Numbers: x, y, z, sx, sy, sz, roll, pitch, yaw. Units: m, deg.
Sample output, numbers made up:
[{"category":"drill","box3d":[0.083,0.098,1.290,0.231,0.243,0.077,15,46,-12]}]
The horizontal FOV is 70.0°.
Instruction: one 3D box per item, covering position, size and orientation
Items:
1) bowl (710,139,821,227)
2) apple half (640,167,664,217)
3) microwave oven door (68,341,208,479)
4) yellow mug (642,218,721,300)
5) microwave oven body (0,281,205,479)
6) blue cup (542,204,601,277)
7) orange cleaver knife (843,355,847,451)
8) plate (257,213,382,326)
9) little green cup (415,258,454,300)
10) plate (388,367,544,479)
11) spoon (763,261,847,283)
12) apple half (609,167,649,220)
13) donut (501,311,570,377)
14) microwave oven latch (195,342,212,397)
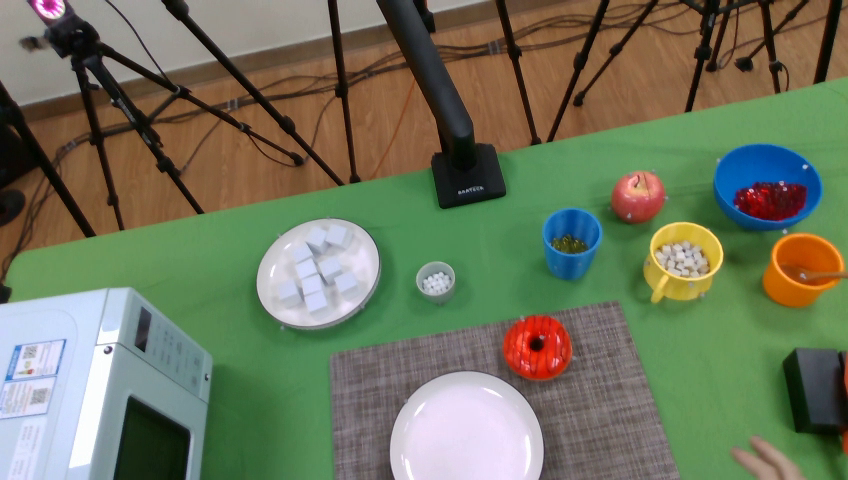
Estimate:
[{"category":"bowl","box3d":[0.515,-0.073,0.935,0.151,0.077,0.150,-4,59,8]},{"category":"apple half","box3d":[0.363,-0.076,0.965,0.033,0.082,0.080,-8,57,9]},{"category":"microwave oven door","box3d":[-0.341,0.327,0.715,0.039,0.246,0.352,-9,57,4]},{"category":"yellow mug","box3d":[0.371,0.037,0.899,0.099,0.064,0.130,33,70,26]},{"category":"microwave oven body","box3d":[-0.487,0.316,0.753,0.326,0.262,0.437,-8,58,4]},{"category":"blue cup","box3d":[0.220,0.008,0.922,0.092,0.101,0.092,-4,59,7]},{"category":"orange cleaver knife","box3d":[0.528,0.239,0.737,0.012,0.077,0.211,1,89,13]},{"category":"plate","box3d":[-0.170,0.050,1.000,0.207,0.039,0.205,-4,58,7]},{"category":"little green cup","box3d":[0.019,0.065,0.959,0.061,0.039,0.061,-5,58,8]},{"category":"plate","box3d":[0.057,0.275,0.818,0.209,0.038,0.207,-4,58,7]},{"category":"spoon","box3d":[0.551,0.044,0.815,0.022,0.193,0.041,48,71,-15]},{"category":"apple half","box3d":[0.325,-0.071,0.970,0.053,0.075,0.080,-8,61,9]},{"category":"donut","box3d":[0.161,0.150,0.874,0.099,0.049,0.098,-4,60,8]},{"category":"microwave oven latch","box3d":[-0.340,0.196,0.917,0.030,0.030,0.078,-7,58,5]}]
